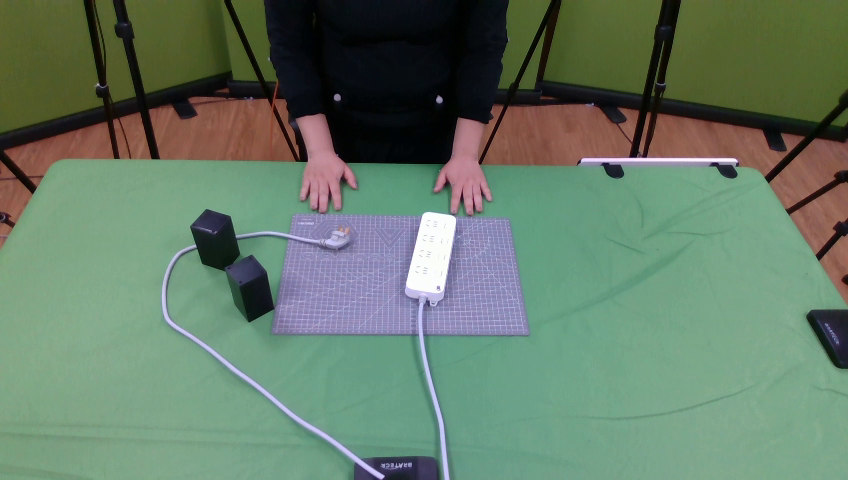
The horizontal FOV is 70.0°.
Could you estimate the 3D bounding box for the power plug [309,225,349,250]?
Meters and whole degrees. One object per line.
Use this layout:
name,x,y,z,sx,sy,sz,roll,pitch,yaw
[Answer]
power plug,-0.182,-0.010,1.175,0.072,0.035,0.052,20,65,0

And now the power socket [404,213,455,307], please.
power socket,0.013,0.029,1.159,0.072,0.033,0.225,8,46,5
